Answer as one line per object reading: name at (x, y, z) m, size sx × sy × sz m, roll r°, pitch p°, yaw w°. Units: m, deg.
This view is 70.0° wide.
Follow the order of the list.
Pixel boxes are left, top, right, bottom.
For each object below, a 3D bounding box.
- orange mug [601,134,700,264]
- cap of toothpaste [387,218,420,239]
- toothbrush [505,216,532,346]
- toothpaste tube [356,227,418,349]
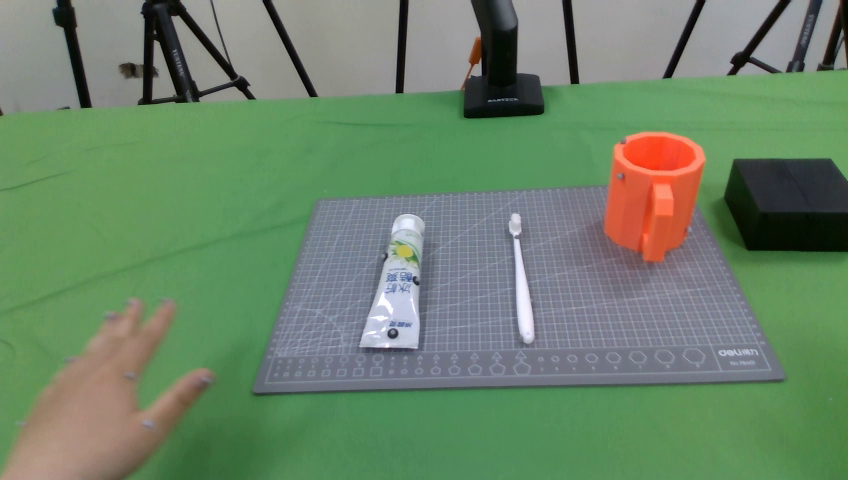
orange mug at (0.230, -0.038, 0.619) m, size 0.083 × 0.102 × 0.125 m, roll 3°, pitch 35°, yaw 11°
cap of toothpaste at (-0.023, -0.008, 0.665) m, size 0.037 × 0.038 × 0.011 m, roll 0°, pitch 42°, yaw 7°
toothbrush at (0.094, 0.034, 0.610) m, size 0.014 × 0.017 × 0.180 m, roll 8°, pitch 40°, yaw -4°
toothpaste tube at (-0.030, 0.043, 0.607) m, size 0.055 × 0.035 × 0.163 m, roll -4°, pitch 40°, yaw 8°
